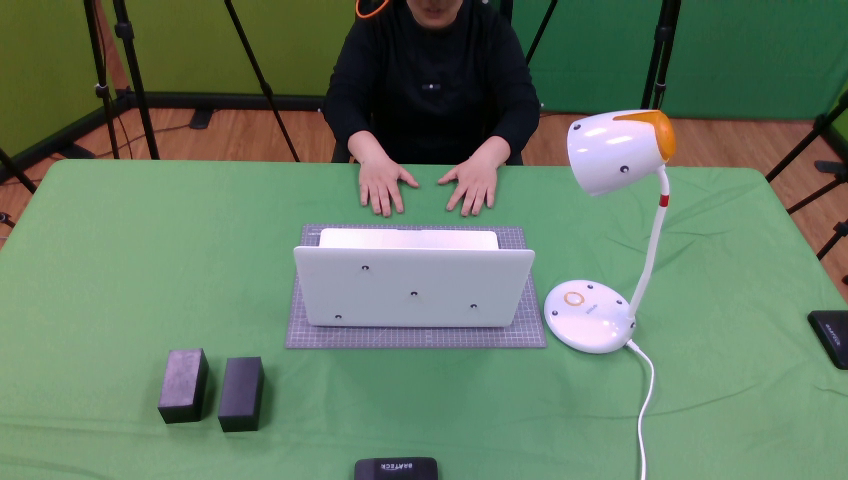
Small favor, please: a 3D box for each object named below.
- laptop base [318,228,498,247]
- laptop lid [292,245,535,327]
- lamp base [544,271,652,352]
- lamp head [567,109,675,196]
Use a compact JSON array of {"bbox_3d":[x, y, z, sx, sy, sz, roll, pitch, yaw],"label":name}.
[{"bbox_3d":[-0.028,0.066,1.135,0.355,0.023,0.234,1,43,-4],"label":"laptop base"},{"bbox_3d":[-0.018,0.080,0.956,0.357,0.243,0.013,2,54,-5],"label":"laptop lid"},{"bbox_3d":[0.310,0.086,1.029,0.178,0.181,0.160,32,52,21],"label":"lamp base"},{"bbox_3d":[0.272,-0.123,0.818,0.122,0.113,0.112,-9,35,37],"label":"lamp head"}]
